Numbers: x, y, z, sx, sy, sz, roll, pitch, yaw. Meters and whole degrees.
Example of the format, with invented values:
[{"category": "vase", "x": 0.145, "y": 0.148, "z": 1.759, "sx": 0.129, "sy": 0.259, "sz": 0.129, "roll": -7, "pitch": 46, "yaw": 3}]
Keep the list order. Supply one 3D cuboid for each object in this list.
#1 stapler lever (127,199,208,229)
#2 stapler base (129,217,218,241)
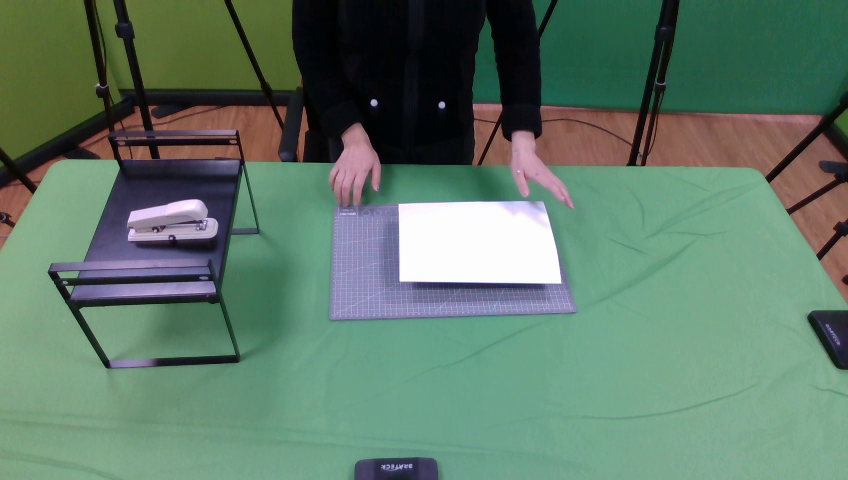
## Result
[{"category": "stapler lever", "x": -0.391, "y": -0.039, "z": 0.922, "sx": 0.118, "sy": 0.040, "sz": 0.026, "roll": -3, "pitch": 43, "yaw": -6}, {"category": "stapler base", "x": -0.390, "y": -0.023, "z": 0.940, "sx": 0.131, "sy": 0.024, "sz": 0.041, "roll": -4, "pitch": 44, "yaw": -6}]
